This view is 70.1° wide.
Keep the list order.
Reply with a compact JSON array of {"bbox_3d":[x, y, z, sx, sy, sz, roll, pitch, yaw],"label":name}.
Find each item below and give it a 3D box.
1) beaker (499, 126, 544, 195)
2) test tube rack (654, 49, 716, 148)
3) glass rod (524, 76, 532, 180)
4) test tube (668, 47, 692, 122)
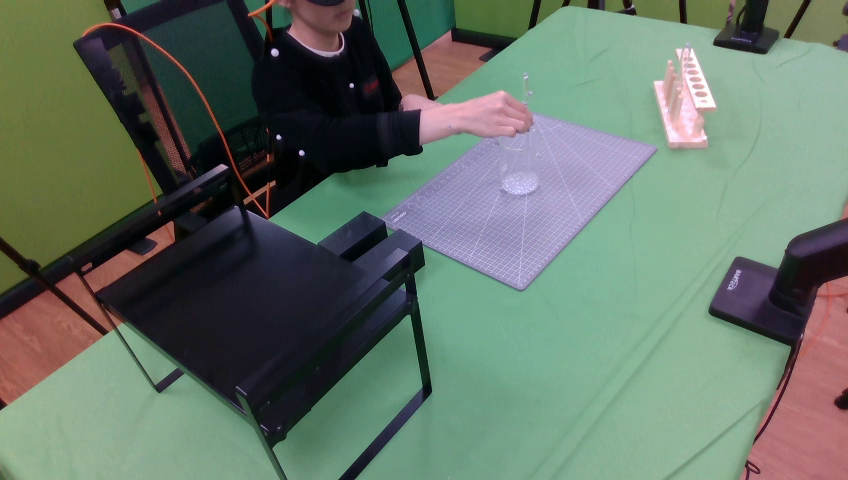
[{"bbox_3d":[0.170,-0.137,1.045,0.073,0.101,0.084,12,44,21],"label":"beaker"},{"bbox_3d":[0.502,-0.281,1.176,0.066,0.085,0.241,1,41,11],"label":"test tube rack"},{"bbox_3d":[0.176,-0.183,1.016,0.008,0.201,0.008,-6,41,6],"label":"glass rod"},{"bbox_3d":[0.472,-0.285,1.117,0.017,0.151,0.017,-4,44,4],"label":"test tube"}]
